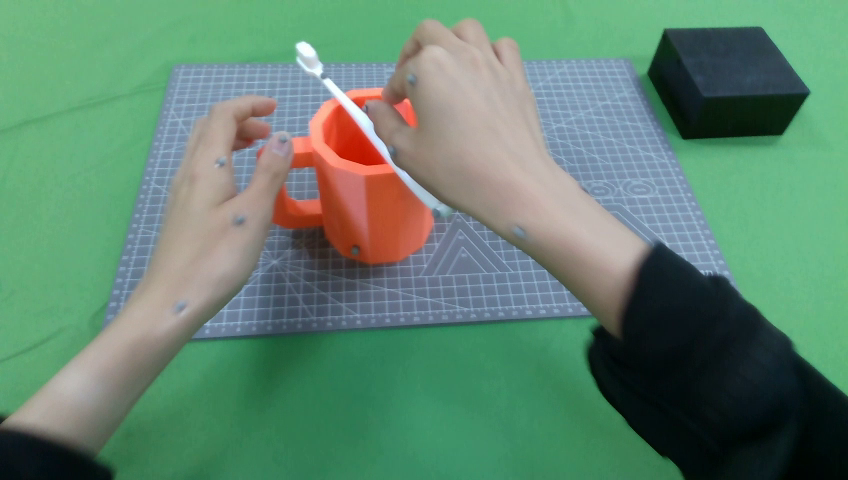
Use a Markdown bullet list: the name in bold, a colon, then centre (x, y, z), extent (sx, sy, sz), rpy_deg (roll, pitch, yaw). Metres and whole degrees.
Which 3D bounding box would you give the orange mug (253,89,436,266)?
- **orange mug**: centre (-0.054, -0.042, 0.432), extent (0.126, 0.101, 0.082), rpy_deg (-4, 52, -12)

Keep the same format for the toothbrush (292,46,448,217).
- **toothbrush**: centre (-0.040, -0.076, 0.393), extent (0.014, 0.017, 0.180), rpy_deg (-27, 58, -25)
